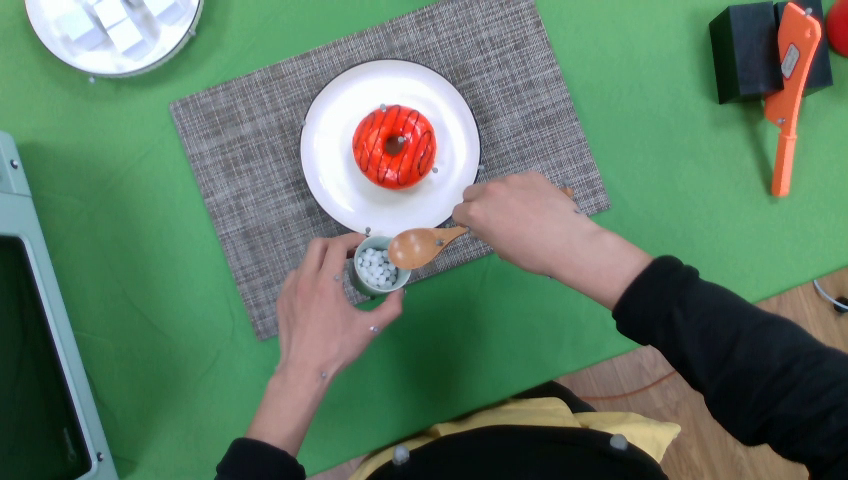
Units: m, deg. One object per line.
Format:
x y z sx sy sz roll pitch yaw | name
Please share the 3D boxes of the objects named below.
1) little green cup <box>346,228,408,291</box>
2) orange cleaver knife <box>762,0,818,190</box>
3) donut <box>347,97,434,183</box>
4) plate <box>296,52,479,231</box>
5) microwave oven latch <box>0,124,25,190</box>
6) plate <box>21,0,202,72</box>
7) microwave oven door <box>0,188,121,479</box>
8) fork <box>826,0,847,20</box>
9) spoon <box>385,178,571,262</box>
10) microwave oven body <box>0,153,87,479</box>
-0.050 0.022 0.624 0.062 0.038 0.061 8 68 -20 | little green cup
0.403 -0.162 0.684 0.012 0.076 0.213 -6 119 2 | orange cleaver knife
-0.038 -0.114 0.691 0.099 0.048 0.099 0 92 2 | donut
-0.042 -0.110 0.702 0.209 0.038 0.209 0 90 0 | plate
-0.484 -0.094 0.687 0.030 0.029 0.079 -17 90 -1 | microwave oven latch
-0.358 -0.296 0.707 0.208 0.039 0.207 0 89 0 | plate
-0.420 0.114 0.585 0.039 0.244 0.355 -18 89 0 | microwave oven door
0.556 -0.262 0.652 0.206 0.019 0.028 8 87 42 | fork
0.047 -0.020 0.581 0.193 0.022 0.041 -20 78 26 | spoon
-0.572 0.118 0.590 0.326 0.260 0.441 -18 90 -1 | microwave oven body
